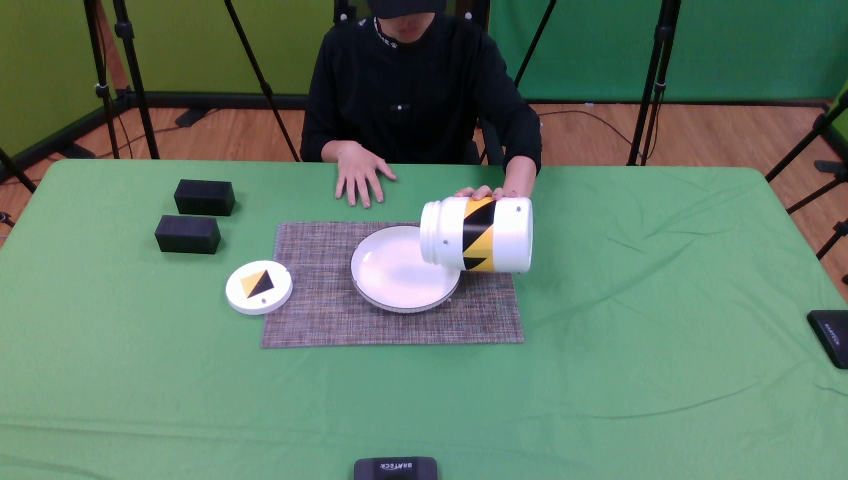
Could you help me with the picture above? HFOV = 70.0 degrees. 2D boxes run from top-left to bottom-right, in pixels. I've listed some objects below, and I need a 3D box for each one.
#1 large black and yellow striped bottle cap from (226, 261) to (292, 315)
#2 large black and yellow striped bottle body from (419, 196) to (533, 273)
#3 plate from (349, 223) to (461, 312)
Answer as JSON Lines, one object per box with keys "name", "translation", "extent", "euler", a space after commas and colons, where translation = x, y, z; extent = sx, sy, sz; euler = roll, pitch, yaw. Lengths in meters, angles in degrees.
{"name": "large black and yellow striped bottle cap", "translation": [-0.298, 0.085, 1.092], "extent": [0.115, 0.019, 0.114], "euler": [0, 45, 1]}
{"name": "large black and yellow striped bottle body", "translation": [0.092, -0.011, 1.050], "extent": [0.184, 0.131, 0.130], "euler": [1, 45, 14]}
{"name": "plate", "translation": [-0.035, 0.054, 1.126], "extent": [0.208, 0.039, 0.206], "euler": [2, 46, -2]}
